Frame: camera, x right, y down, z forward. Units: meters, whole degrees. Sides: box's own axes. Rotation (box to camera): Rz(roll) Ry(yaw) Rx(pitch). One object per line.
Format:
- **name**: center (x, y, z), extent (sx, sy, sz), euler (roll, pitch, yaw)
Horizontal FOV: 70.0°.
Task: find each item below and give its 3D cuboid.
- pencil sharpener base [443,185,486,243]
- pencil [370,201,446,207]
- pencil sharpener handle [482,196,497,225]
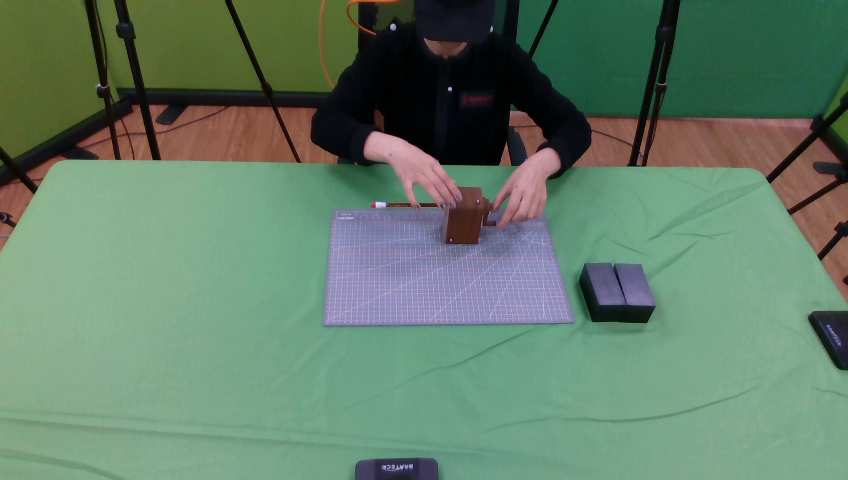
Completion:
- **pencil sharpener base**: center (0.078, -0.049, 1.188), extent (0.077, 0.107, 0.061), euler (1, 46, -3)
- **pencil**: center (-0.007, -0.068, 1.167), extent (0.194, 0.012, 0.012), euler (0, 46, -1)
- **pencil sharpener handle**: center (0.130, -0.055, 1.182), extent (0.031, 0.068, 0.036), euler (1, 43, -3)
